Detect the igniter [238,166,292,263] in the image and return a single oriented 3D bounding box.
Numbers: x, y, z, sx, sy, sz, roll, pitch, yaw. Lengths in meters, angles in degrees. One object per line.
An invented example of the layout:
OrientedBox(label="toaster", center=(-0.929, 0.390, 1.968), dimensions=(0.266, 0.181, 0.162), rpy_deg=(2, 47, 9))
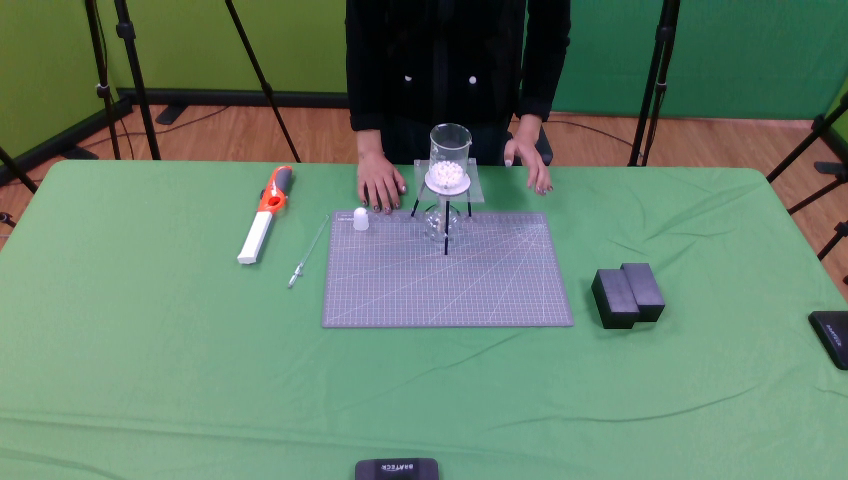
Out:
OrientedBox(label="igniter", center=(-0.319, -0.060, 1.229), dimensions=(0.057, 0.025, 0.275), rpy_deg=(-2, 45, 10))

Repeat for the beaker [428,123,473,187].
OrientedBox(label="beaker", center=(0.044, -0.154, 1.109), dimensions=(0.074, 0.101, 0.083), rpy_deg=(-25, 54, -25))

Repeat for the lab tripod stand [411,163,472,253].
OrientedBox(label="lab tripod stand", center=(0.042, -0.069, 1.187), dimensions=(0.148, 0.132, 0.147), rpy_deg=(3, 47, -3))

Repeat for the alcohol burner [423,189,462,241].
OrientedBox(label="alcohol burner", center=(0.036, -0.055, 1.186), dimensions=(0.078, 0.120, 0.077), rpy_deg=(1, 48, -1))

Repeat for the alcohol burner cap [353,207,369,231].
OrientedBox(label="alcohol burner cap", center=(-0.127, -0.046, 1.216), dimensions=(0.034, 0.048, 0.033), rpy_deg=(2, 49, -3))

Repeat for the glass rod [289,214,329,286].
OrientedBox(label="glass rod", center=(-0.221, 0.014, 1.179), dimensions=(0.008, 0.008, 0.199), rpy_deg=(12, 46, 9))

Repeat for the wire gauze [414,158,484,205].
OrientedBox(label="wire gauze", center=(0.045, -0.113, 1.137), dimensions=(0.125, 0.011, 0.120), rpy_deg=(1, 48, -6))
